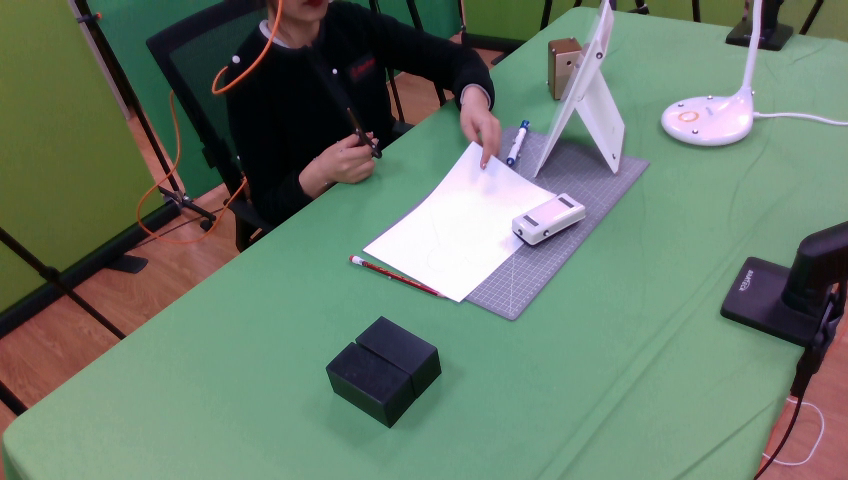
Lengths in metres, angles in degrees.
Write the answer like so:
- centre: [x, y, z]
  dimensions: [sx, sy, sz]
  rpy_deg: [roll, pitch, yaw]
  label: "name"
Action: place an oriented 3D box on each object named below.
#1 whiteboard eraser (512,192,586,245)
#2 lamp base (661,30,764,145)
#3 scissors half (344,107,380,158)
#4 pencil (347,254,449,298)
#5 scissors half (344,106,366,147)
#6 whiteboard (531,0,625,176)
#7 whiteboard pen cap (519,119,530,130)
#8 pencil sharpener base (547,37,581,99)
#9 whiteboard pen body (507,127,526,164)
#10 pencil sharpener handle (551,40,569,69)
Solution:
- centre: [0.199, -0.032, 0.962]
  dimensions: [0.113, 0.042, 0.055]
  rpy_deg: [-27, 43, -20]
  label: "whiteboard eraser"
- centre: [0.535, -0.287, 1.096]
  dimensions: [0.179, 0.181, 0.159]
  rpy_deg: [-10, 40, -4]
  label: "lamp base"
- centre: [-0.111, -0.191, 1.085]
  dimensions: [0.013, 0.176, 0.040]
  rpy_deg: [-41, 65, -2]
  label: "scissors half"
- centre: [-0.043, 0.056, 0.933]
  dimensions: [0.192, 0.012, 0.012]
  rpy_deg: [20, 48, 28]
  label: "pencil"
- centre: [-0.124, -0.205, 1.091]
  dimensions: [0.040, 0.175, 0.013]
  rpy_deg: [43, 85, 10]
  label: "scissors half"
- centre: [0.320, -0.258, 1.050]
  dimensions: [0.144, 0.306, 0.217]
  rpy_deg: [22, 45, 5]
  label: "whiteboard"
- centre: [0.199, -0.227, 1.204]
  dimensions: [0.018, 0.018, 0.033]
  rpy_deg: [7, 42, 18]
  label: "whiteboard pen cap"
- centre: [0.299, -0.368, 1.290]
  dimensions: [0.061, 0.107, 0.076]
  rpy_deg: [-8, 40, 2]
  label: "pencil sharpener base"
- centre: [0.181, -0.190, 1.162]
  dimensions: [0.017, 0.017, 0.140]
  rpy_deg: [7, 42, 18]
  label: "whiteboard pen body"
- centre: [0.291, -0.409, 1.321]
  dimensions: [0.036, 0.068, 0.030]
  rpy_deg: [2, 40, -6]
  label: "pencil sharpener handle"
